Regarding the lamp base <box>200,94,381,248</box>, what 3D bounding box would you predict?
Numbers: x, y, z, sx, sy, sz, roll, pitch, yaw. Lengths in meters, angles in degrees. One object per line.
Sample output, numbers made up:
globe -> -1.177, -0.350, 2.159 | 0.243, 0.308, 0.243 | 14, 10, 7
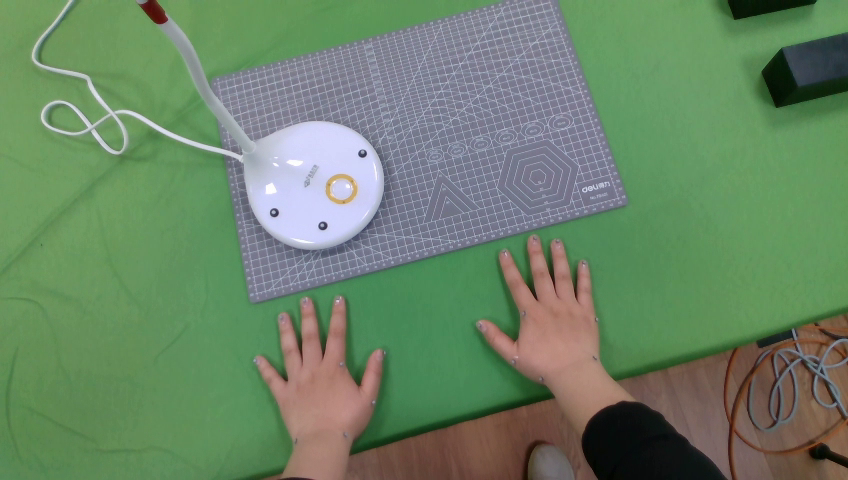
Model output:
lamp base -> -0.149, -0.090, 0.641 | 0.179, 0.181, 0.160 | 11, 76, 10
